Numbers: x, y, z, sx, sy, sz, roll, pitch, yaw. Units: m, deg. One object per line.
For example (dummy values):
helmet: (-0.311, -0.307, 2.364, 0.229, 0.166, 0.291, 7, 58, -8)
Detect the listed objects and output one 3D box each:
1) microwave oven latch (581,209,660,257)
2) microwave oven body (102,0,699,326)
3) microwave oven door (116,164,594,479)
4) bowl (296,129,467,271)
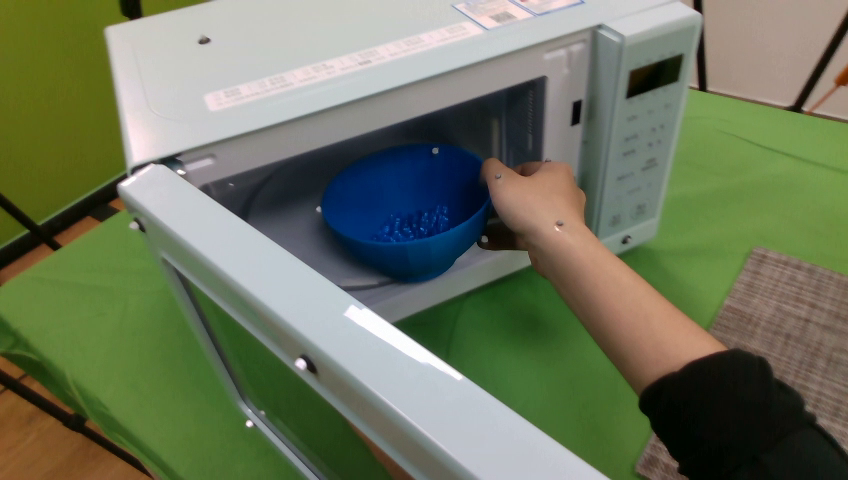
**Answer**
microwave oven latch: (0.200, -0.012, 0.618, 0.079, 0.030, 0.030, -21, 44, -14)
microwave oven body: (-0.032, -0.104, 0.608, 0.442, 0.263, 0.322, -22, 44, -15)
microwave oven door: (-0.040, 0.116, 0.353, 0.352, 0.246, 0.039, 29, 53, 34)
bowl: (-0.034, -0.024, 0.556, 0.151, 0.077, 0.150, -2, 48, 3)
